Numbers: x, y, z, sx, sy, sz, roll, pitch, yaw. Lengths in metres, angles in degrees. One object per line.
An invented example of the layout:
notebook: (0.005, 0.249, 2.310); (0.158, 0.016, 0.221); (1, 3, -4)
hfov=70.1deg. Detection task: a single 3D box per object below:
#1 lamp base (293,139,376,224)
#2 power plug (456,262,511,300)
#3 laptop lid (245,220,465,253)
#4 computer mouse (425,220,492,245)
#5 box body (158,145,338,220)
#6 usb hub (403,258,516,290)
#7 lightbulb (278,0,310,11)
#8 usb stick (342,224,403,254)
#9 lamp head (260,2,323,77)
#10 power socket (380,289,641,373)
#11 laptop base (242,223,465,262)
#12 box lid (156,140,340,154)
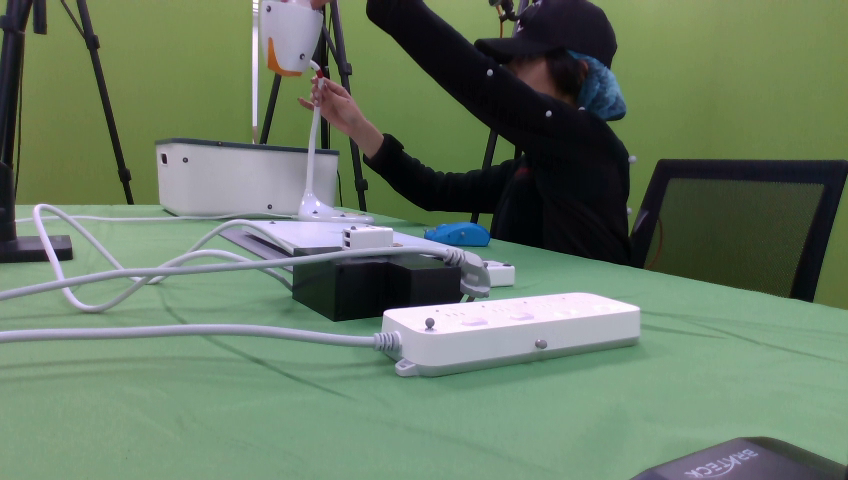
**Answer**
lamp base: (-0.191, -0.121, 1.258); (0.179, 0.180, 0.161); (0, 6, 7)
power plug: (0.052, 0.051, 0.543); (0.035, 0.052, 0.072); (6, 38, -20)
laptop lid: (-0.124, -0.009, 0.945); (0.243, 0.013, 0.355); (1, 7, -29)
computer mouse: (0.060, -0.013, 1.060); (0.117, 0.041, 0.062); (-2, 9, -6)
box body: (-0.410, -0.139, 1.414); (0.366, 0.160, 0.253); (-3, 8, -33)
usb hub: (0.042, 0.038, 0.690); (0.126, 0.025, 0.049); (-2, 10, -30)
lightbulb: (-0.239, -0.389, 1.093); (0.059, 0.107, 0.059); (12, 12, -2)
usb stick: (-0.047, -0.001, 0.567); (0.059, 0.027, 0.021); (0, 5, -32)
lamp head: (-0.245, -0.361, 1.106); (0.112, 0.123, 0.112); (7, 15, -2)
power socket: (0.072, 0.064, 0.461); (0.228, 0.032, 0.072); (-2, 8, -30)
laptop base: (-0.126, 0.003, 0.946); (0.237, 0.023, 0.352); (2, 6, -31)
box lid: (-0.409, -0.213, 1.404); (0.373, 0.015, 0.262); (-2, 8, -32)
